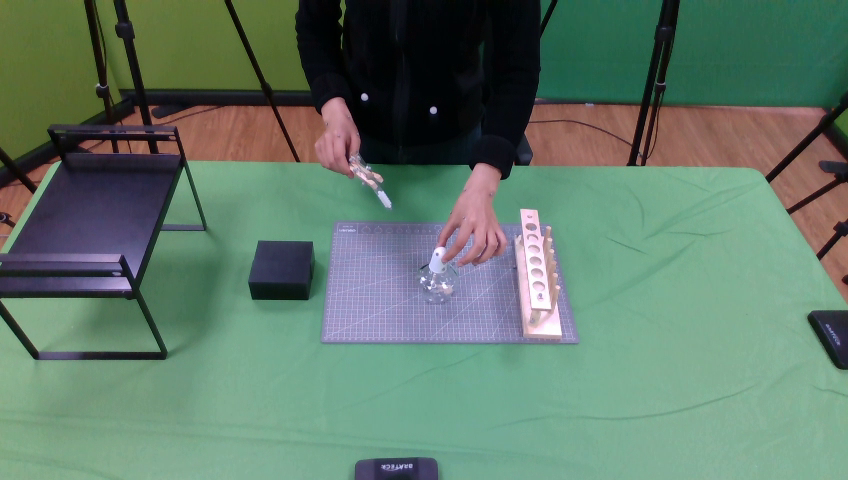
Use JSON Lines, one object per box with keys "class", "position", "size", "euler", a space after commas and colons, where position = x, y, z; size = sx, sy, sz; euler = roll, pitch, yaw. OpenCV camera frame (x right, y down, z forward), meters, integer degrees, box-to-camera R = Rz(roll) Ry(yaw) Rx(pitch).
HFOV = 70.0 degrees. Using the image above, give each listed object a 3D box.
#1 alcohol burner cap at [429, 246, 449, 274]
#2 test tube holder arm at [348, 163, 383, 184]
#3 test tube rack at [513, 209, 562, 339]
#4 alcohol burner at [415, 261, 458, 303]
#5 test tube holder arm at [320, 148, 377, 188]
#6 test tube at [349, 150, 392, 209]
{"class": "alcohol burner cap", "position": [0.028, 0.032, 1.052], "size": [0.034, 0.048, 0.033], "euler": [6, 46, -6]}
{"class": "test tube holder arm", "position": [-0.108, -0.121, 1.089], "size": [0.087, 0.015, 0.010], "euler": [24, 61, 37]}
{"class": "test tube rack", "position": [0.212, 0.056, 1.113], "size": [0.067, 0.085, 0.241], "euler": [3, 46, -1]}
{"class": "alcohol burner", "position": [0.024, 0.057, 1.078], "size": [0.078, 0.119, 0.077], "euler": [3, 44, -2]}
{"class": "test tube holder arm", "position": [-0.142, -0.134, 1.115], "size": [0.013, 0.015, 0.177], "euler": [-41, 47, -18]}
{"class": "test tube", "position": [-0.092, -0.105, 1.078], "size": [0.017, 0.151, 0.017], "euler": [-13, 50, 17]}
